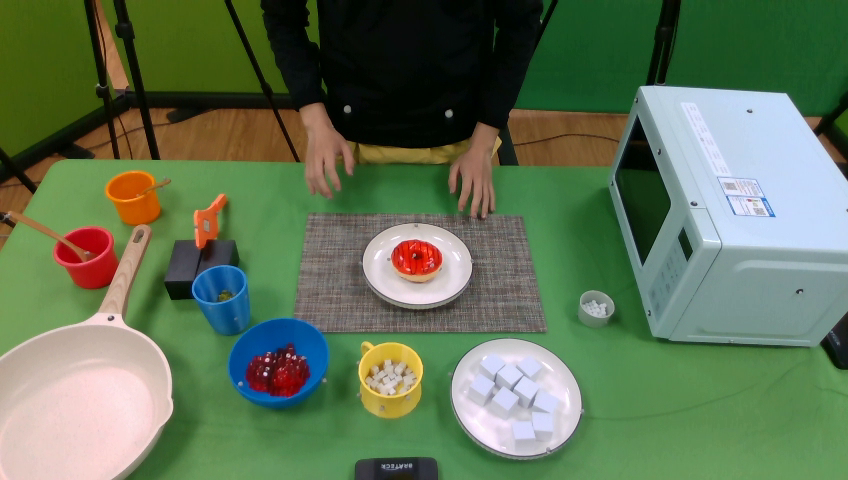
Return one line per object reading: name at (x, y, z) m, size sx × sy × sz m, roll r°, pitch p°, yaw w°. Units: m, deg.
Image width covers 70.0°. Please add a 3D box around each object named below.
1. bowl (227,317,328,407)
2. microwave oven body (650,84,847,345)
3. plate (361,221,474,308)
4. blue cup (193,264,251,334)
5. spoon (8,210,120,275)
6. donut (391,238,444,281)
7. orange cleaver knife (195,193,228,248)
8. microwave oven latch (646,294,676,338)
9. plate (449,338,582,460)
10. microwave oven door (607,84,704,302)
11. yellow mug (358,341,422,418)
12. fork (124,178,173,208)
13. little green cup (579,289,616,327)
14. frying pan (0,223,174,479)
bowl at (-0.222, 0.203, 0.947) m, size 0.151 × 0.077 × 0.150 m, roll 2°, pitch 46°, yaw -2°
microwave oven body at (0.568, -0.054, 1.116) m, size 0.326 × 0.261 × 0.439 m, roll 2°, pitch 46°, yaw -1°
plate at (-0.011, 0.049, 1.130) m, size 0.209 × 0.038 × 0.208 m, roll 2°, pitch 46°, yaw -2°
blue cup at (-0.331, 0.105, 1.016) m, size 0.092 × 0.101 × 0.092 m, roll 1°, pitch 45°, yaw -1°
spoon at (-0.628, 0.002, 1.063) m, size 0.195 × 0.021 × 0.041 m, roll 40°, pitch 41°, yaw -27°
donut at (-0.012, 0.035, 1.128) m, size 0.099 × 0.048 × 0.098 m, roll 3°, pitch 43°, yaw -3°
orange cleaver knife at (-0.406, -0.041, 1.163) m, size 0.012 × 0.077 × 0.210 m, roll 0°, pitch 18°, yaw -4°
microwave oven latch at (0.412, 0.133, 1.060) m, size 0.030 × 0.029 × 0.078 m, roll 4°, pitch 46°, yaw 1°
plate at (0.141, 0.251, 0.955) m, size 0.208 × 0.039 × 0.206 m, roll 2°, pitch 47°, yaw -2°
microwave oven door at (0.424, -0.096, 1.138) m, size 0.039 × 0.245 × 0.353 m, roll 3°, pitch 46°, yaw -1°
yellow mug at (-0.063, 0.210, 0.961) m, size 0.100 × 0.064 × 0.130 m, roll -29°, pitch 54°, yaw -28°
fork at (-0.525, -0.090, 1.153) m, size 0.207 × 0.019 × 0.028 m, roll -18°, pitch 27°, yaw 45°
little green cup at (0.308, 0.124, 1.085) m, size 0.061 × 0.039 × 0.061 m, roll 2°, pitch 45°, yaw -2°
frying pan at (-0.505, 0.169, 0.941) m, size 0.307 × 0.103 × 0.485 m, roll 5°, pitch 54°, yaw -1°
